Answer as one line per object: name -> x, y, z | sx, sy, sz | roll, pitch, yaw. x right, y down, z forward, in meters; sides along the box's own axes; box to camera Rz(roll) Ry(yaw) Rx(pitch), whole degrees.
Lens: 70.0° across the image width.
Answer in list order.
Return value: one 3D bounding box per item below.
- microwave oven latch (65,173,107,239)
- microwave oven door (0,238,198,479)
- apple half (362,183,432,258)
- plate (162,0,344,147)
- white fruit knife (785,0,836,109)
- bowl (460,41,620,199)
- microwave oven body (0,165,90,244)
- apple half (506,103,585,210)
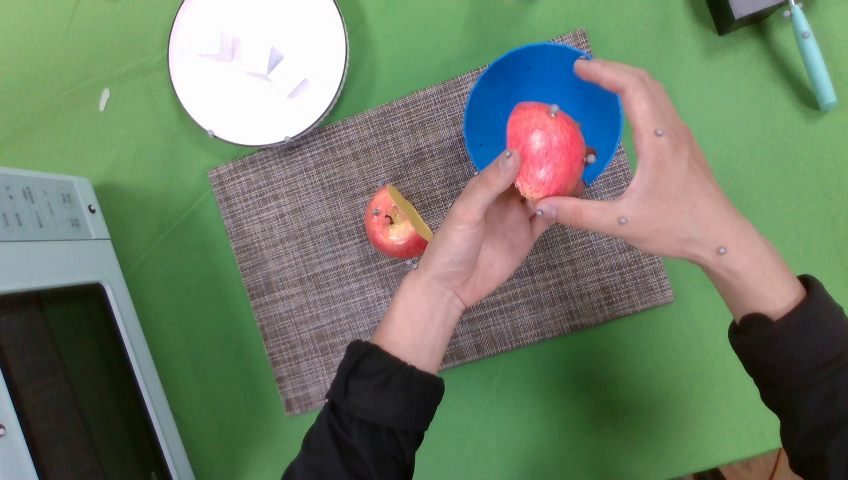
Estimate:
microwave oven latch -> -0.396, -0.037, 0.697 | 0.030, 0.029, 0.079 | -20, 90, 8
microwave oven door -> -0.339, 0.172, 0.593 | 0.039, 0.244, 0.355 | -21, 89, 9
apple half -> -0.034, -0.014, 0.639 | 0.053, 0.074, 0.081 | -38, 90, 12
plate -> -0.187, -0.206, 0.677 | 0.207, 0.039, 0.207 | 0, 92, 8
white fruit knife -> 0.346, -0.215, 0.570 | 0.016, 0.027, 0.208 | -24, 105, 26
bowl -> 0.115, -0.113, 0.610 | 0.151, 0.077, 0.151 | 0, 92, 9
microwave oven body -> -0.488, 0.182, 0.621 | 0.326, 0.260, 0.441 | -20, 89, 8
apple half -> 0.093, -0.061, 0.428 | 0.032, 0.081, 0.081 | -17, 89, 45
